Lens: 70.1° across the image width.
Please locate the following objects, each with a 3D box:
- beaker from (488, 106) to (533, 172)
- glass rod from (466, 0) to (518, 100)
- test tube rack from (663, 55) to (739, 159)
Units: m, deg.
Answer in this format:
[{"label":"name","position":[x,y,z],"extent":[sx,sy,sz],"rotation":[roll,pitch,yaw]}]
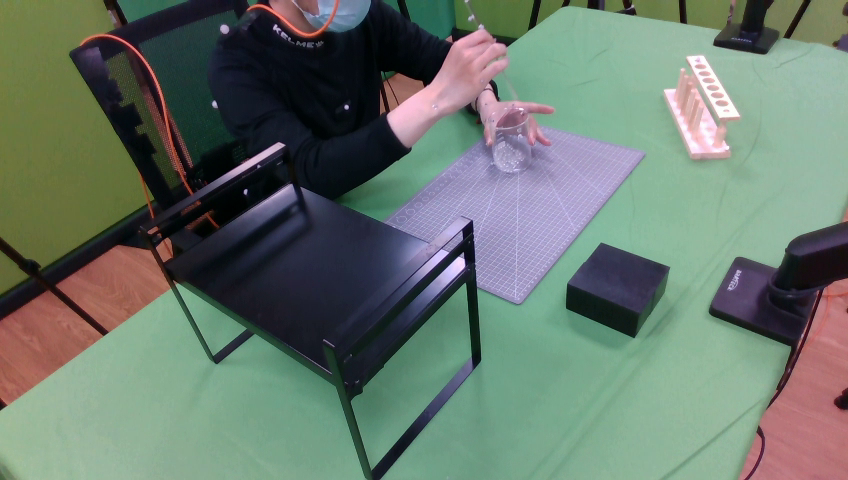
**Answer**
[{"label":"beaker","position":[0.160,-0.181,1.090],"extent":[0.084,0.101,0.073],"rotation":[-37,45,-26]},{"label":"glass rod","position":[0.113,-0.305,0.982],"extent":[0.008,0.201,0.008],"rotation":[-21,41,20]},{"label":"test tube rack","position":[0.518,-0.256,1.144],"extent":[0.066,0.085,0.241],"rotation":[-1,41,8]}]
